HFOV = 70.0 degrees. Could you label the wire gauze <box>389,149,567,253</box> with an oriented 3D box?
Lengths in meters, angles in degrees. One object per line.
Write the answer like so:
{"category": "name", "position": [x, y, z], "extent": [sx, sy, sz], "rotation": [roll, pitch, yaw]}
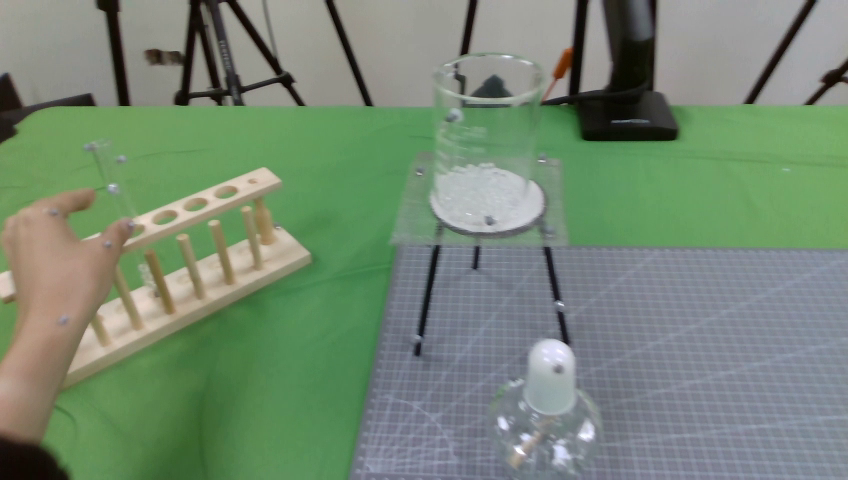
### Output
{"category": "wire gauze", "position": [0.043, -0.032, 0.455], "extent": [0.121, 0.011, 0.124], "rotation": [3, 41, 7]}

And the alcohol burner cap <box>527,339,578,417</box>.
{"category": "alcohol burner cap", "position": [0.080, 0.082, 0.374], "extent": [0.034, 0.048, 0.033], "rotation": [-4, 38, 4]}

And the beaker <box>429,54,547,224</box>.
{"category": "beaker", "position": [0.039, -0.069, 0.422], "extent": [0.074, 0.101, 0.083], "rotation": [-32, 48, -33]}

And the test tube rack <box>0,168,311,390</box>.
{"category": "test tube rack", "position": [-0.230, 0.026, 0.550], "extent": [0.242, 0.086, 0.066], "rotation": [-29, 45, -28]}

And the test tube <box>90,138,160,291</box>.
{"category": "test tube", "position": [-0.254, -0.017, 0.525], "extent": [0.017, 0.151, 0.017], "rotation": [-3, 33, 2]}

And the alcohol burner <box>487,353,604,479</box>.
{"category": "alcohol burner", "position": [0.081, 0.110, 0.396], "extent": [0.078, 0.120, 0.077], "rotation": [-1, 41, 1]}

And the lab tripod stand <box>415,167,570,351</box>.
{"category": "lab tripod stand", "position": [0.054, 0.018, 0.497], "extent": [0.148, 0.132, 0.147], "rotation": [-1, 38, 1]}
